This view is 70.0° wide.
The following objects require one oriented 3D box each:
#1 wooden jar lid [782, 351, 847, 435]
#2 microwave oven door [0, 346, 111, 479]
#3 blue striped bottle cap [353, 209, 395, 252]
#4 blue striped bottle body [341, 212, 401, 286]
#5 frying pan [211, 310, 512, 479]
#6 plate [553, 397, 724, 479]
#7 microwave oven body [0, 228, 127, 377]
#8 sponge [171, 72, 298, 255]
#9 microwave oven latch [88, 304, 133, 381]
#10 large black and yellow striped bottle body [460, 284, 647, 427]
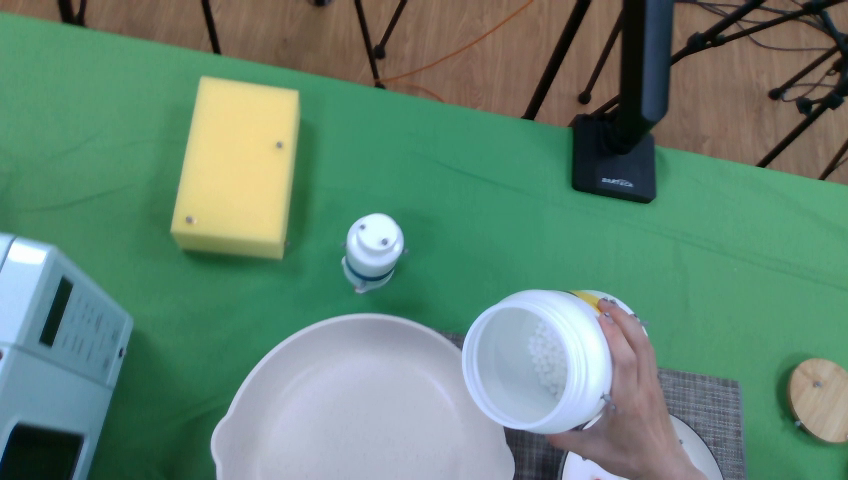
[{"bbox_3d":[0.521,0.201,0.799,0.108,0.021,0.107,3,71,-9],"label":"wooden jar lid"},{"bbox_3d":[-0.343,0.272,0.461,0.039,0.244,0.353,10,68,-7],"label":"microwave oven door"},{"bbox_3d":[-0.053,-0.011,0.651,0.045,0.021,0.044,3,71,-10],"label":"blue striped bottle cap"},{"bbox_3d":[-0.062,0.008,0.698,0.063,0.121,0.062,4,69,-9],"label":"blue striped bottle body"},{"bbox_3d":[-0.072,0.312,0.592,0.307,0.103,0.484,9,61,-5],"label":"frying pan"},{"bbox_3d":[0.245,0.289,0.699,0.210,0.038,0.207,4,70,-9],"label":"plate"},{"bbox_3d":[-0.480,0.208,0.463,0.327,0.261,0.439,11,69,-8],"label":"microwave oven body"},{"bbox_3d":[-0.223,-0.092,0.734,0.118,0.061,0.205,5,70,-9],"label":"sponge"},{"bbox_3d":[-0.330,0.105,0.634,0.030,0.029,0.078,13,69,-7],"label":"microwave oven latch"},{"bbox_3d":[0.129,0.109,0.594,0.185,0.130,0.130,6,61,-54],"label":"large black and yellow striped bottle body"}]
